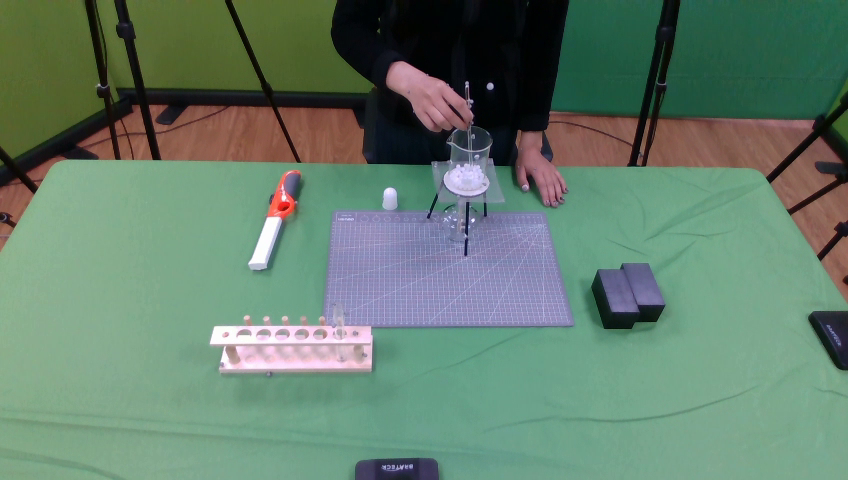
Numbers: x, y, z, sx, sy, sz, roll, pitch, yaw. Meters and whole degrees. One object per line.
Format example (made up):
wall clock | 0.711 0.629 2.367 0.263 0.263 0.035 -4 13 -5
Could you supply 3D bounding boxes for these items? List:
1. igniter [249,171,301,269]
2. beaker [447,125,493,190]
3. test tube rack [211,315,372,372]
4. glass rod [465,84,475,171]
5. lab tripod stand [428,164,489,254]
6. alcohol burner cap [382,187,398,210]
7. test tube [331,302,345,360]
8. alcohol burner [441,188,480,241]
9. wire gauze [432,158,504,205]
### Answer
igniter | -0.297 -0.049 1.221 0.057 0.025 0.275 -2 45 9
beaker | 0.079 -0.148 1.106 0.084 0.101 0.073 -3 47 -7
test tube rack | -0.208 0.163 0.982 0.242 0.085 0.066 1 46 -4
glass rod | 0.083 -0.193 1.073 0.008 0.201 0.008 -4 51 5
lab tripod stand | 0.078 -0.068 1.188 0.148 0.132 0.147 3 47 -3
alcohol burner cap | -0.072 -0.090 1.266 0.034 0.048 0.033 2 47 -2
test tube | -0.132 0.144 0.938 0.017 0.151 0.017 2 49 -3
alcohol burner | 0.073 -0.055 1.189 0.078 0.120 0.077 1 48 -1
wire gauze | 0.081 -0.111 1.138 0.125 0.011 0.120 0 48 -7
